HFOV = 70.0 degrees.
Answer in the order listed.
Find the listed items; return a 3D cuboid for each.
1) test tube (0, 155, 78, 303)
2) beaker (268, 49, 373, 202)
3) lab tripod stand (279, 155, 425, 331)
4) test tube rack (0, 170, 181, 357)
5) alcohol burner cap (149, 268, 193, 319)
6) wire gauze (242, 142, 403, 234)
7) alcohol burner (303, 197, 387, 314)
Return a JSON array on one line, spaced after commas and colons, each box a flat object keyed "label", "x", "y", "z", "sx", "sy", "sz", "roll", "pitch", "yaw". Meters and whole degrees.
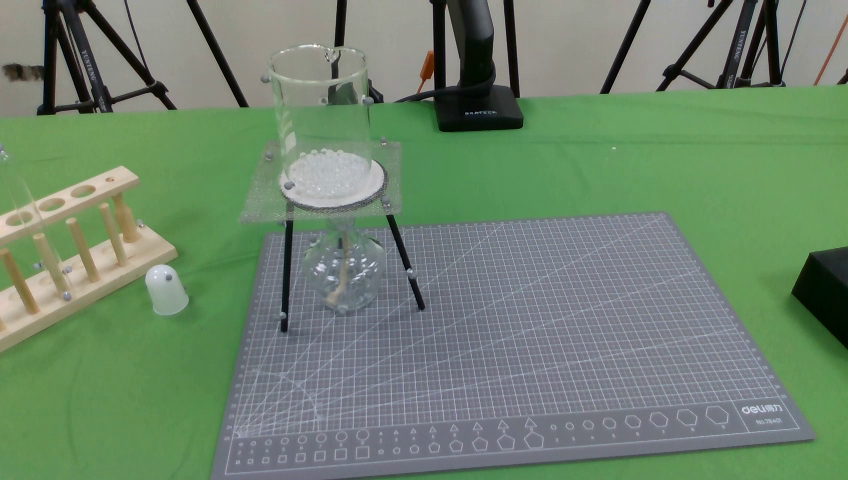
[{"label": "test tube", "x": -0.333, "y": -0.005, "z": 0.524, "sx": 0.017, "sy": 0.151, "sz": 0.017, "roll": 0, "pitch": 37, "yaw": 0}, {"label": "beaker", "x": -0.076, "y": -0.088, "z": 0.471, "sx": 0.074, "sy": 0.101, "sz": 0.083, "roll": 4, "pitch": 38, "yaw": 3}, {"label": "lab tripod stand", "x": -0.069, "y": 0.002, "z": 0.542, "sx": 0.148, "sy": 0.132, "sz": 0.147, "roll": 1, "pitch": 37, "yaw": 0}, {"label": "test tube rack", "x": -0.358, "y": 0.030, "z": 0.551, "sx": 0.066, "sy": 0.086, "sz": 0.242, "roll": 28, "pitch": 46, "yaw": 32}, {"label": "alcohol burner cap", "x": -0.238, "y": 0.047, "z": 0.565, "sx": 0.034, "sy": 0.048, "sz": 0.033, "roll": 0, "pitch": 39, "yaw": 0}, {"label": "wire gauze", "x": -0.078, "y": -0.048, "z": 0.499, "sx": 0.121, "sy": 0.011, "sz": 0.124, "roll": -1, "pitch": 40, "yaw": -2}, {"label": "alcohol burner", "x": -0.072, "y": 0.010, "z": 0.548, "sx": 0.078, "sy": 0.120, "sz": 0.077, "roll": 1, "pitch": 39, "yaw": 0}]
